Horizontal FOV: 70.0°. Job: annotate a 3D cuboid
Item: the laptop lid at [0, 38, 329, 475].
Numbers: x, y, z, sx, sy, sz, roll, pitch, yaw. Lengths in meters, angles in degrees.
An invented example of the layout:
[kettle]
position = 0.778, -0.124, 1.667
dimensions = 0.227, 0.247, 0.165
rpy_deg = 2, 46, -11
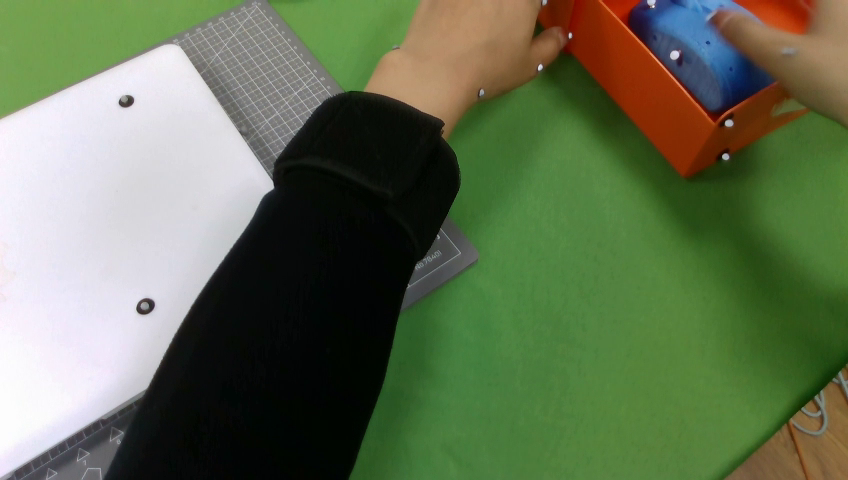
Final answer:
[laptop lid]
position = -0.264, 0.021, 0.366
dimensions = 0.357, 0.013, 0.239
rpy_deg = -30, 69, -14

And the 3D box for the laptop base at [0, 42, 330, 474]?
[laptop base]
position = -0.265, 0.025, 0.378
dimensions = 0.354, 0.023, 0.234
rpy_deg = -31, 70, -14

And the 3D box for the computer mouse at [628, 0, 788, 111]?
[computer mouse]
position = 0.205, -0.148, 0.440
dimensions = 0.063, 0.041, 0.116
rpy_deg = -26, 62, -7

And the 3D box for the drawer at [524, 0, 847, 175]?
[drawer]
position = 0.208, -0.176, 0.441
dimensions = 0.194, 0.074, 0.210
rpy_deg = -28, 65, -11

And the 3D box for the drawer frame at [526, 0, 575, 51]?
[drawer frame]
position = 0.147, -0.279, 0.491
dimensions = 0.202, 0.083, 0.211
rpy_deg = -26, 65, -11
